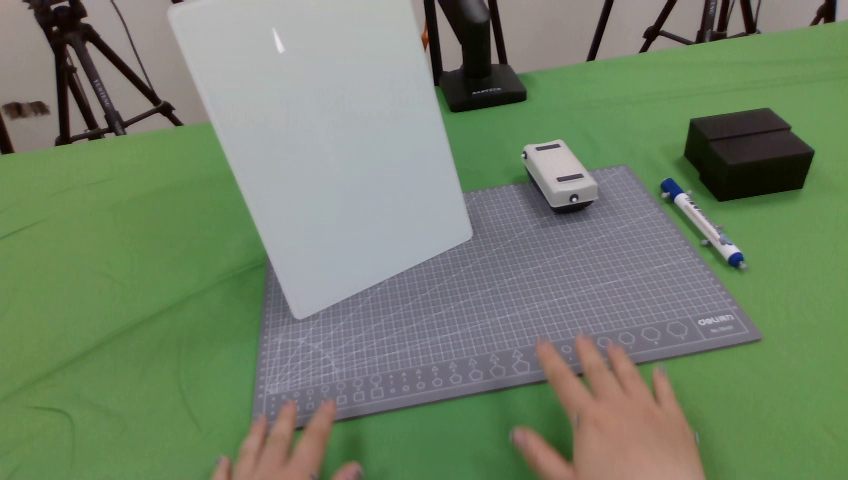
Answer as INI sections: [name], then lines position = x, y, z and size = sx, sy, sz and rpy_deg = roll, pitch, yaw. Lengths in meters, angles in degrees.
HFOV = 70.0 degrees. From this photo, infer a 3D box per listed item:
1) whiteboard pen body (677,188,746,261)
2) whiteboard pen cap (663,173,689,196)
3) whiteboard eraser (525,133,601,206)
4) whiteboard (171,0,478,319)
[whiteboard pen body]
position = 0.301, -0.025, 0.652
size = 0.017, 0.017, 0.139
rpy_deg = -11, 39, -4
[whiteboard pen cap]
position = 0.290, -0.062, 0.695
size = 0.018, 0.018, 0.033
rpy_deg = -11, 39, -5
[whiteboard eraser]
position = 0.163, -0.083, 0.717
size = 0.055, 0.042, 0.111
rpy_deg = -13, 40, -4
[whiteboard]
position = -0.101, -0.115, 0.637
size = 0.217, 0.307, 0.142
rpy_deg = -25, 24, -19
